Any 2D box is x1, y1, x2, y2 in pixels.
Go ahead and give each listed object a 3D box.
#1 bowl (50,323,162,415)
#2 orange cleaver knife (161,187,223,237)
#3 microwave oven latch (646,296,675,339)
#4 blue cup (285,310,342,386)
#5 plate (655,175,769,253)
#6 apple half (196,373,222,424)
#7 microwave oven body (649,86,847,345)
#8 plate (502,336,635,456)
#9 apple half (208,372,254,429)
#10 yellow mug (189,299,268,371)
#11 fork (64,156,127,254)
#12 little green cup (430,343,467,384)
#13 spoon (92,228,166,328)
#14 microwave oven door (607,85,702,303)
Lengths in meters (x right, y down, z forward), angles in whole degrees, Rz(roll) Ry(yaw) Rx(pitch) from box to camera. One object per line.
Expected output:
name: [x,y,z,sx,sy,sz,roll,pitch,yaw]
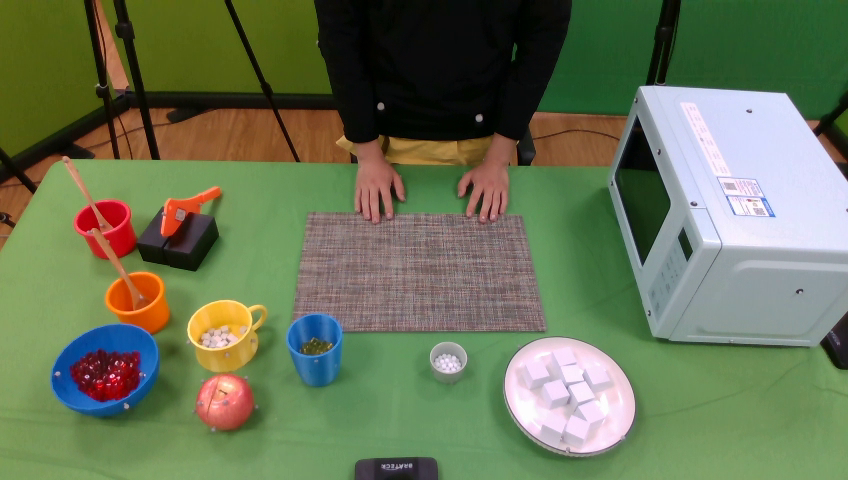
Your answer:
bowl: [-0.472,0.209,0.924,0.151,0.077,0.150,3,45,-2]
orange cleaver knife: [-0.448,-0.058,1.180,0.012,0.077,0.211,13,17,6]
microwave oven latch: [0.412,0.134,1.061,0.030,0.029,0.078,4,45,1]
blue cup: [-0.170,0.179,0.958,0.093,0.101,0.092,1,44,-1]
plate: [0.555,-0.046,1.183,0.209,0.038,0.208,2,46,-1]
apple half: [-0.322,0.239,0.907,0.033,0.081,0.081,7,46,-1]
microwave oven body: [0.568,-0.053,1.118,0.326,0.261,0.439,2,45,-1]
plate: [0.225,0.248,0.963,0.208,0.039,0.206,2,46,-2]
apple half: [-0.283,0.244,0.908,0.053,0.075,0.080,7,42,-1]
yellow mug: [-0.316,0.148,1.002,0.131,0.064,0.099,-32,56,-32]
fork: [-0.614,-0.064,1.130,0.028,0.018,0.207,-29,97,-16]
little green cup: [0.039,0.203,0.994,0.061,0.039,0.061,2,46,-2]
spoon: [-0.495,0.063,1.014,0.041,0.194,0.021,-34,12,-31]
microwave oven door: [0.423,-0.094,1.140,0.039,0.245,0.353,2,46,-1]
